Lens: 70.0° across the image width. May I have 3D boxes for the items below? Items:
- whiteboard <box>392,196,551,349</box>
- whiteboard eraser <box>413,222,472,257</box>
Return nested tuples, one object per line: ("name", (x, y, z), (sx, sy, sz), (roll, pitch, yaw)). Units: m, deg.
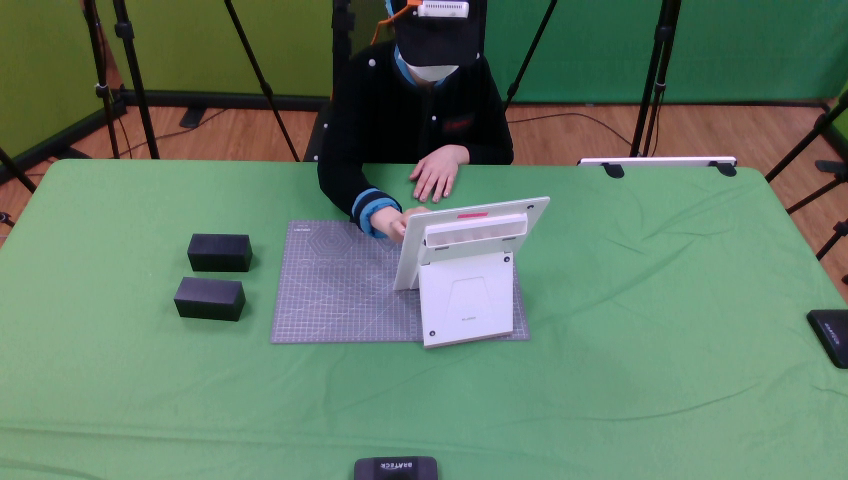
("whiteboard", (0.077, 0.071, 0.977), (0.217, 0.306, 0.143), (-7, 67, -11))
("whiteboard eraser", (0.028, 0.000, 0.974), (0.101, 0.041, 0.018), (-26, 64, 21))
